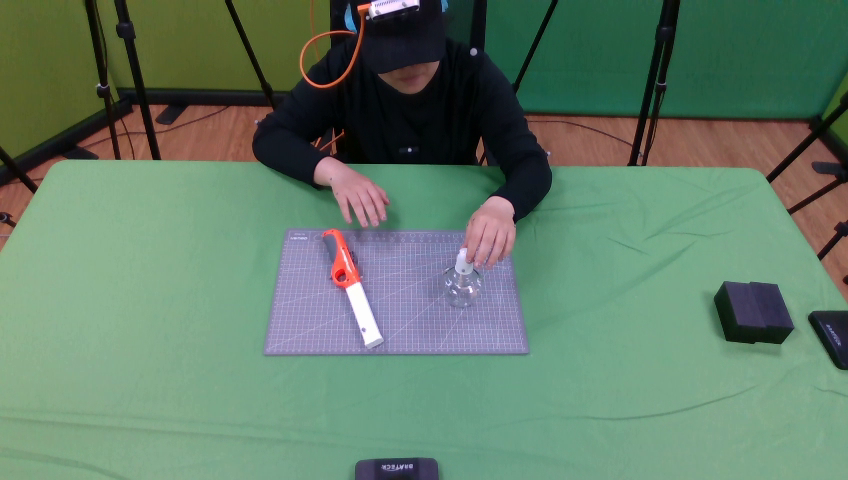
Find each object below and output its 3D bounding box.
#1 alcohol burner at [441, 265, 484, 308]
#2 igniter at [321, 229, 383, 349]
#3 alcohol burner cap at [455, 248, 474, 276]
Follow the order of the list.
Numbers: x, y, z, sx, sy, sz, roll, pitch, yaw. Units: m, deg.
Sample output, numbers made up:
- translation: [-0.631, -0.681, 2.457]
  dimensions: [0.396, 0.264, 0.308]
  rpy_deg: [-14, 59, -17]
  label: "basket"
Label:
- translation: [0.069, 0.064, 1.075]
  dimensions: [0.078, 0.120, 0.077]
  rpy_deg: [1, 45, -1]
  label: "alcohol burner"
- translation: [-0.134, 0.078, 1.102]
  dimensions: [0.057, 0.025, 0.274]
  rpy_deg: [-28, 53, 0]
  label: "igniter"
- translation: [0.071, 0.035, 1.043]
  dimensions: [0.034, 0.048, 0.033]
  rpy_deg: [1, 44, -1]
  label: "alcohol burner cap"
